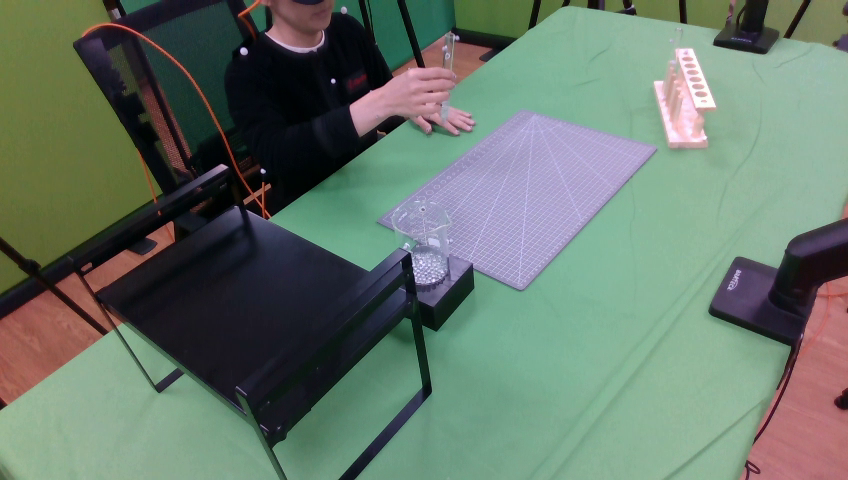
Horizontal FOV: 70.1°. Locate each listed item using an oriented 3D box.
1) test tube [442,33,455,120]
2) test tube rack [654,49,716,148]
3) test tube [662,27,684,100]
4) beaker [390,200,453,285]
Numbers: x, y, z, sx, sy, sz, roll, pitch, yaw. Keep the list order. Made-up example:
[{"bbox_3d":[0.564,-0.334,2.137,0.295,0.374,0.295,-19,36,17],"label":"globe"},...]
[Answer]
[{"bbox_3d":[0.040,-0.272,1.017,0.017,0.150,0.017,1,39,-1],"label":"test tube"},{"bbox_3d":[0.502,-0.281,1.176,0.066,0.085,0.241,2,42,11],"label":"test tube rack"},{"bbox_3d":[0.486,-0.342,1.181,0.017,0.151,0.017,-3,42,3],"label":"test tube"},{"bbox_3d":[0.002,0.006,0.831,0.084,0.101,0.074,5,42,13],"label":"beaker"}]
